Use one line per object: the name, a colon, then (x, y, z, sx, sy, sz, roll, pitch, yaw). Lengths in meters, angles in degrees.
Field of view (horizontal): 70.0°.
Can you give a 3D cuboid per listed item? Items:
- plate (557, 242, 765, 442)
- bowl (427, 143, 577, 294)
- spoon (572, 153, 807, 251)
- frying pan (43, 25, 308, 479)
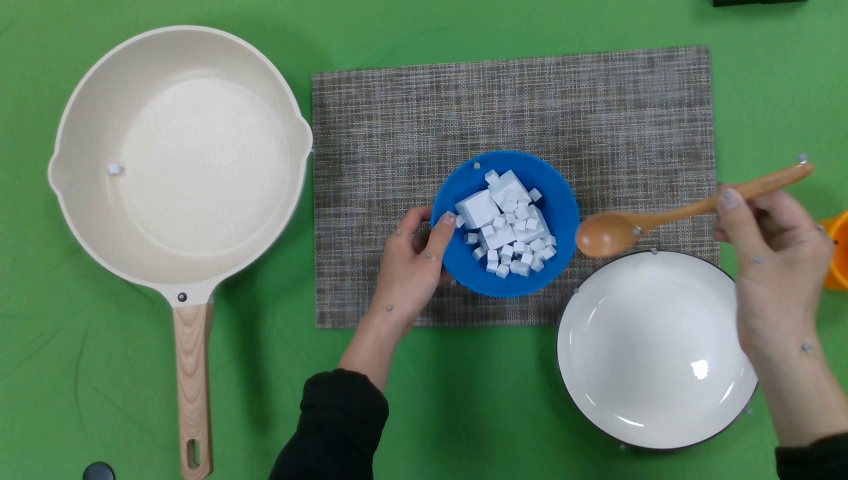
plate: (0.245, 0.105, 0.642, 0.207, 0.039, 0.207, 0, 90, 7)
bowl: (0.081, -0.018, 0.643, 0.151, 0.077, 0.151, 0, 87, 6)
spoon: (0.203, -0.028, 0.488, 0.193, 0.021, 0.042, -21, 103, 49)
frying pan: (-0.262, 0.011, 0.671, 0.306, 0.103, 0.485, -7, 79, 7)
